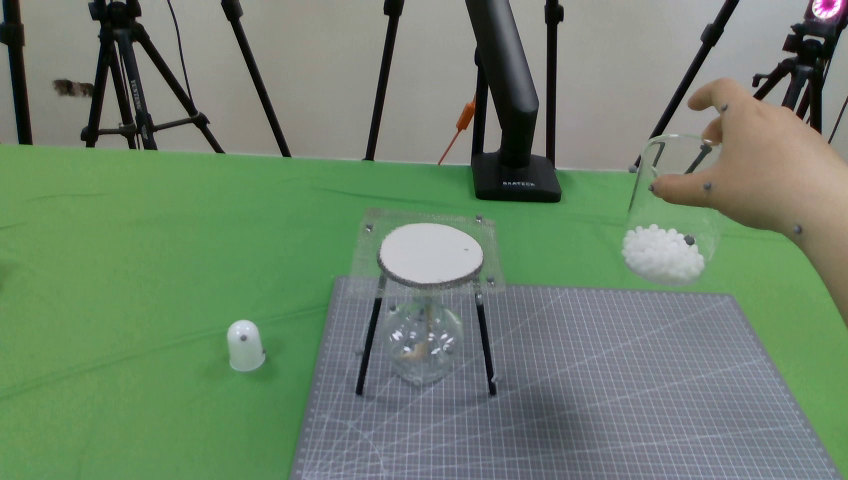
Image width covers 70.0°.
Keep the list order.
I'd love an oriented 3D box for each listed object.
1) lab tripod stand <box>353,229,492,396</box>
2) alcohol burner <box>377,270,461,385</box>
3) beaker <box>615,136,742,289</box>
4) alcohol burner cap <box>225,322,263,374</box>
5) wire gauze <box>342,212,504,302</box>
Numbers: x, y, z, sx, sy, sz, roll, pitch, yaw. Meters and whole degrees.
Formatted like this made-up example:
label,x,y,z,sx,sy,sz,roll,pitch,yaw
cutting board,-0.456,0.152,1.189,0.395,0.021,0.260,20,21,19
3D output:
label,x,y,z,sx,sy,sz,roll,pitch,yaw
lab tripod stand,-0.001,0.065,0.541,0.148,0.132,0.147,1,34,0
alcohol burner,-0.003,0.073,0.546,0.078,0.120,0.077,4,36,-2
beaker,0.193,-0.017,0.472,0.074,0.101,0.083,10,39,12
alcohol burner cap,-0.169,0.097,0.564,0.034,0.048,0.033,3,36,-2
wire gauze,0.001,0.012,0.499,0.121,0.011,0.124,2,33,0
